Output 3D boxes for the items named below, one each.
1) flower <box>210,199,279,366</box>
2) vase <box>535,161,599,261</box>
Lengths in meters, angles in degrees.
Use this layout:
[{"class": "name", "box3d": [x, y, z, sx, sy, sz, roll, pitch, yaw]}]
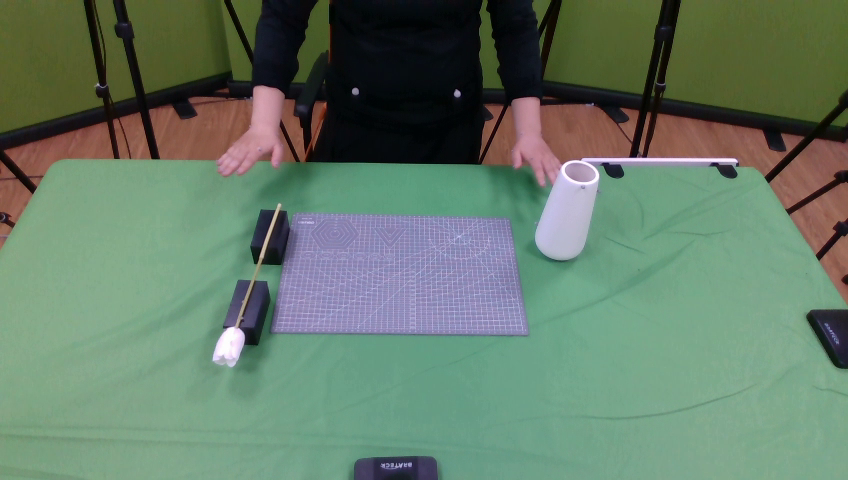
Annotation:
[{"class": "flower", "box3d": [-0.298, 0.056, 1.055, 0.044, 0.038, 0.359, -16, 44, 24]}, {"class": "vase", "box3d": [0.271, -0.051, 1.145, 0.098, 0.201, 0.097, 1, 46, -1]}]
